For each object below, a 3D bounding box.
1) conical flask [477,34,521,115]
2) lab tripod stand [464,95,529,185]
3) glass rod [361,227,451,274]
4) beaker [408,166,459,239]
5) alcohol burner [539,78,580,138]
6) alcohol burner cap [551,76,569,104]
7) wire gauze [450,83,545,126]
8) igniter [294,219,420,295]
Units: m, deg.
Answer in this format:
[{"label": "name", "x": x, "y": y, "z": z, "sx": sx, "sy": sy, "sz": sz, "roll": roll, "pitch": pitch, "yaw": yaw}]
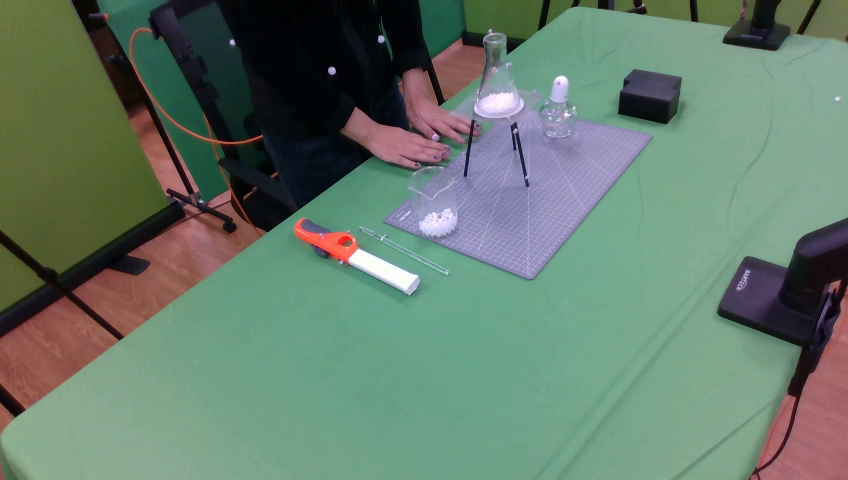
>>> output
[{"label": "conical flask", "x": 0.121, "y": -0.275, "z": 0.999, "sx": 0.075, "sy": 0.122, "sz": 0.075, "roll": -5, "pitch": 40, "yaw": 5}, {"label": "lab tripod stand", "x": 0.138, "y": -0.182, "z": 1.082, "sx": 0.148, "sy": 0.132, "sz": 0.147, "roll": -6, "pitch": 38, "yaw": 5}, {"label": "glass rod", "x": -0.033, "y": 0.015, "z": 0.985, "sx": 0.198, "sy": 0.008, "sz": 0.008, "roll": 26, "pitch": 52, "yaw": 34}, {"label": "beaker", "x": 0.018, "y": -0.057, "z": 0.984, "sx": 0.074, "sy": 0.101, "sz": 0.083, "roll": -6, "pitch": 41, "yaw": 5}, {"label": "alcohol burner", "x": 0.261, "y": -0.259, "z": 1.164, "sx": 0.078, "sy": 0.119, "sz": 0.077, "roll": -4, "pitch": 42, "yaw": 4}, {"label": "alcohol burner cap", "x": 0.258, "y": -0.285, "z": 1.140, "sx": 0.034, "sy": 0.048, "sz": 0.033, "roll": -2, "pitch": 47, "yaw": 2}, {"label": "wire gauze", "x": 0.126, "y": -0.232, "z": 1.041, "sx": 0.120, "sy": 0.011, "sz": 0.125, "roll": 17, "pitch": 48, "yaw": 31}, {"label": "igniter", "x": -0.118, "y": 0.022, "z": 0.977, "sx": 0.274, "sy": 0.025, "sz": 0.057, "roll": 24, "pitch": 60, "yaw": 34}]
